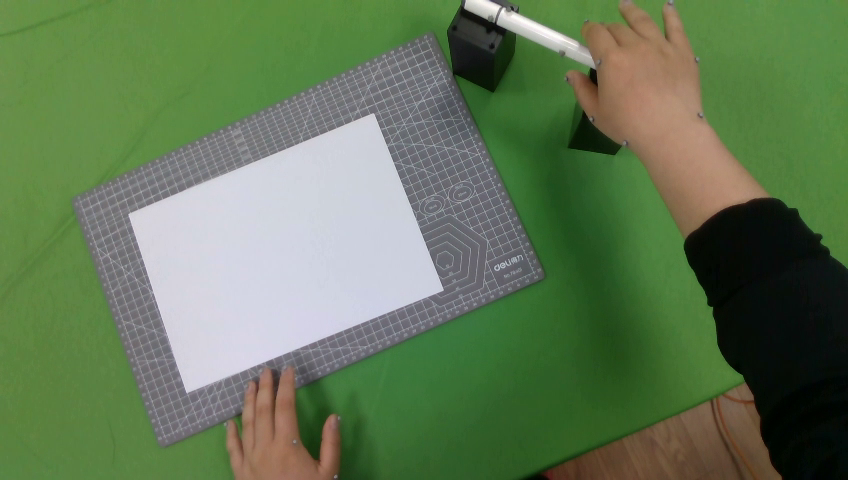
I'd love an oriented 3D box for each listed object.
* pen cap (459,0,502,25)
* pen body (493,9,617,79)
[{"bbox_3d":[0.051,-0.213,0.558,0.038,0.017,0.017,27,87,9],"label":"pen cap"},{"bbox_3d":[0.107,-0.183,0.551,0.144,0.017,0.017,28,87,6],"label":"pen body"}]
